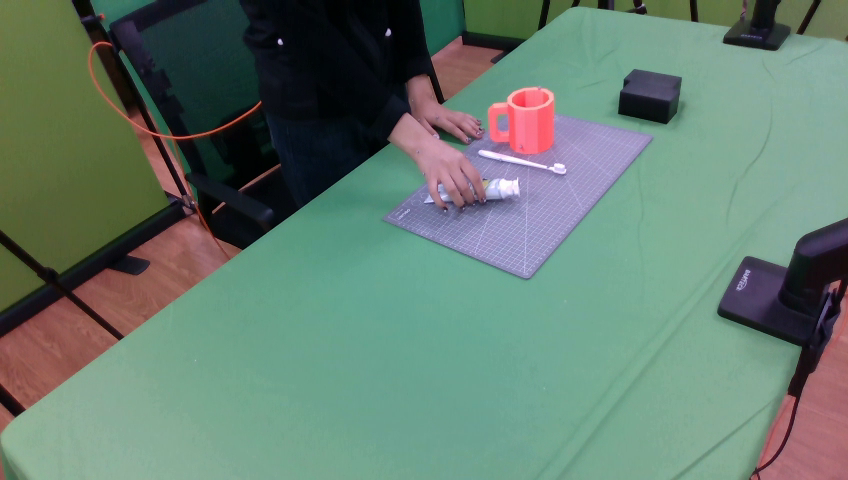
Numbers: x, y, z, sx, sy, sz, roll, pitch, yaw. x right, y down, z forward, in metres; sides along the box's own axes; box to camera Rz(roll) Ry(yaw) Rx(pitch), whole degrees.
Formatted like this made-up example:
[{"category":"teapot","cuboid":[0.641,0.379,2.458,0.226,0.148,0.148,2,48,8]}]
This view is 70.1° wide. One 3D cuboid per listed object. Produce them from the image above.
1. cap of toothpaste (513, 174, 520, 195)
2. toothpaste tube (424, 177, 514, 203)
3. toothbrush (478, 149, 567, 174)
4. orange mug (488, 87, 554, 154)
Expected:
[{"category":"cap of toothpaste","cuboid":[0.158,-0.093,1.026,0.011,0.037,0.037,-6,41,9]},{"category":"toothpaste tube","cuboid":[0.082,-0.090,1.057,0.164,0.035,0.055,-3,35,21]},{"category":"toothbrush","cuboid":[0.179,-0.149,1.122,0.180,0.017,0.014,18,62,30]},{"category":"orange mug","cuboid":[0.185,-0.227,1.151,0.126,0.101,0.083,1,41,5]}]
